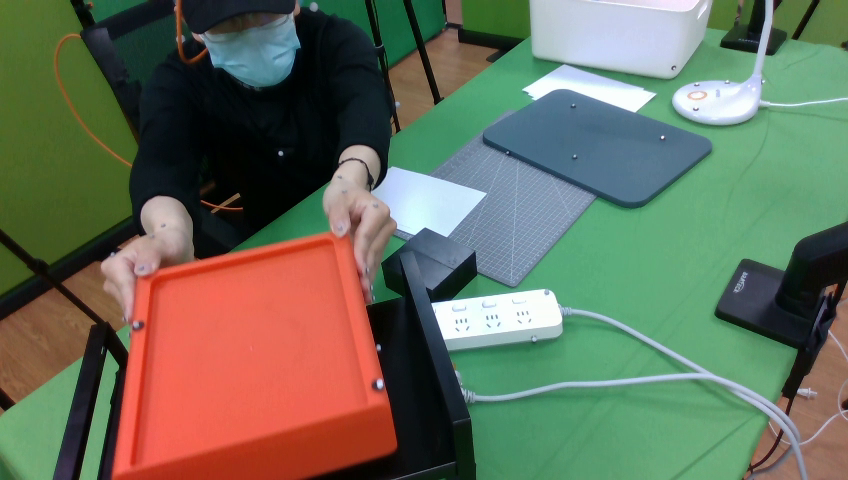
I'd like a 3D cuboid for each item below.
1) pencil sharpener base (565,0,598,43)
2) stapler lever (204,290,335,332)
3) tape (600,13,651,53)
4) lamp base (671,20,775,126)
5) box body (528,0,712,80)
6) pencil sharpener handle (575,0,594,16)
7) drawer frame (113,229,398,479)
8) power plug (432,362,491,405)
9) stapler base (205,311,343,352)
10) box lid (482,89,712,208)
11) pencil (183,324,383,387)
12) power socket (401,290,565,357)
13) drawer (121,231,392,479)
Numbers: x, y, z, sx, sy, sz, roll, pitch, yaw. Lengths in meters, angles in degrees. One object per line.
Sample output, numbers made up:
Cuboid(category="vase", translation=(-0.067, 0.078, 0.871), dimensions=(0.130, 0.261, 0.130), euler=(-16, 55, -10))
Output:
Cuboid(category="pencil sharpener base", translation=(0.387, -0.550, 1.484), dimensions=(0.061, 0.107, 0.077), euler=(13, 44, 23))
Cuboid(category="stapler lever", translation=(-0.145, 0.066, 0.561), dimensions=(0.118, 0.040, 0.026), euler=(-1, 46, 3))
Cuboid(category="tape", translation=(0.484, -0.497, 1.451), dimensions=(0.117, 0.053, 0.116), euler=(-4, 41, 4))
Cuboid(category="lamp base", translation=(0.582, -0.332, 1.153), dimensions=(0.179, 0.181, 0.160), euler=(2, 41, 7))
Cuboid(category="box body", translation=(0.451, -0.513, 1.398), dimensions=(0.361, 0.161, 0.254), euler=(19, 47, 28))
Cuboid(category="pencil sharpener handle", translation=(0.401, -0.594, 1.512), dimensions=(0.036, 0.067, 0.030), euler=(35, 48, 0))
Cuboid(category="drawer frame", translation=(-0.143, 0.101, 0.527), dimensions=(0.202, 0.083, 0.212), euler=(-13, 44, -9))
Cuboid(category="power plug", translation=(0.045, 0.182, 0.758), dimensions=(0.073, 0.035, 0.052), euler=(22, 43, -18))
Cuboid(category="stapler base", translation=(-0.145, 0.084, 0.577), dimensions=(0.130, 0.024, 0.041), euler=(0, 46, 2))
Cuboid(category="box lid", translation=(0.320, -0.190, 1.156), dimensions=(0.264, 0.015, 0.368), euler=(-33, 47, -28))
Cuboid(category="pencil", translation=(-0.131, 0.104, 0.556), dimensions=(0.194, 0.012, 0.012), euler=(15, 44, 4))
Cuboid(category="power socket", translation=(0.080, 0.113, 0.821), dimensions=(0.227, 0.033, 0.072), euler=(-6, 41, 0))
Cuboid(category="drawer", translation=(-0.144, 0.102, 0.531), dimensions=(0.195, 0.073, 0.210), euler=(-12, 44, -9))
